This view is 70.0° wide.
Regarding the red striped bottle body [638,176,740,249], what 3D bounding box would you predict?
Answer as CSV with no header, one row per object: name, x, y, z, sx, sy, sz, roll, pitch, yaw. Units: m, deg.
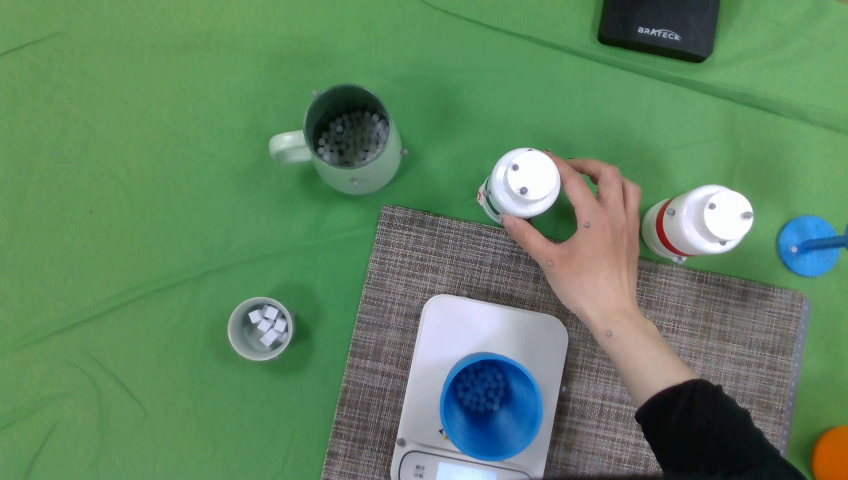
red striped bottle body,0.255,-0.025,0.577,0.063,0.120,0.063,0,86,-1

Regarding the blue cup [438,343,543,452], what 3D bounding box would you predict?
blue cup,0.053,0.130,0.538,0.093,0.100,0.092,0,89,-1

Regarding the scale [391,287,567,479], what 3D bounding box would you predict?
scale,0.055,0.154,0.601,0.149,0.031,0.200,11,87,0

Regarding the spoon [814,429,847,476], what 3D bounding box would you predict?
spoon,0.461,0.235,0.552,0.022,0.192,0.041,23,94,-43

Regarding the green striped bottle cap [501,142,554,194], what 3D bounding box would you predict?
green striped bottle cap,0.089,-0.062,0.519,0.044,0.020,0.044,0,86,0

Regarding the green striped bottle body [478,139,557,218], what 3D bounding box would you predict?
green striped bottle body,0.088,-0.057,0.575,0.063,0.119,0.063,0,86,-1

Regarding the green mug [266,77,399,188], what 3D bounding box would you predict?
green mug,-0.088,-0.099,0.581,0.125,0.105,0.092,-10,87,-1

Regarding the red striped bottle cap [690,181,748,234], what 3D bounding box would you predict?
red striped bottle cap,0.255,-0.028,0.524,0.044,0.018,0.044,0,83,-2

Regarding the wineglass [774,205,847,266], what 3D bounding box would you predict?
wineglass,0.400,-0.012,0.553,0.074,0.172,0.073,0,86,0

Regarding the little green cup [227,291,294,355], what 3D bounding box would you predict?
little green cup,-0.159,0.081,0.601,0.061,0.038,0.061,0,87,-2
